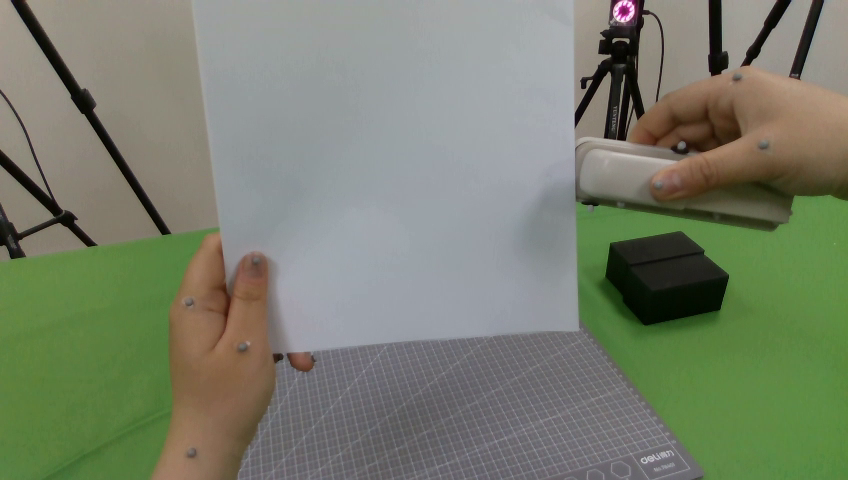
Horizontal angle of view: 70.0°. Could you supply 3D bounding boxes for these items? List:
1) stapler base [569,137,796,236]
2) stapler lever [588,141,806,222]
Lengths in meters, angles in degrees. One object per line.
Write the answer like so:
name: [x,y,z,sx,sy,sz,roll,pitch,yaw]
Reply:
stapler base: [0.155,-0.033,0.360,0.130,0.041,0.024,11,5,5]
stapler lever: [0.153,-0.033,0.341,0.118,0.027,0.040,11,5,11]
